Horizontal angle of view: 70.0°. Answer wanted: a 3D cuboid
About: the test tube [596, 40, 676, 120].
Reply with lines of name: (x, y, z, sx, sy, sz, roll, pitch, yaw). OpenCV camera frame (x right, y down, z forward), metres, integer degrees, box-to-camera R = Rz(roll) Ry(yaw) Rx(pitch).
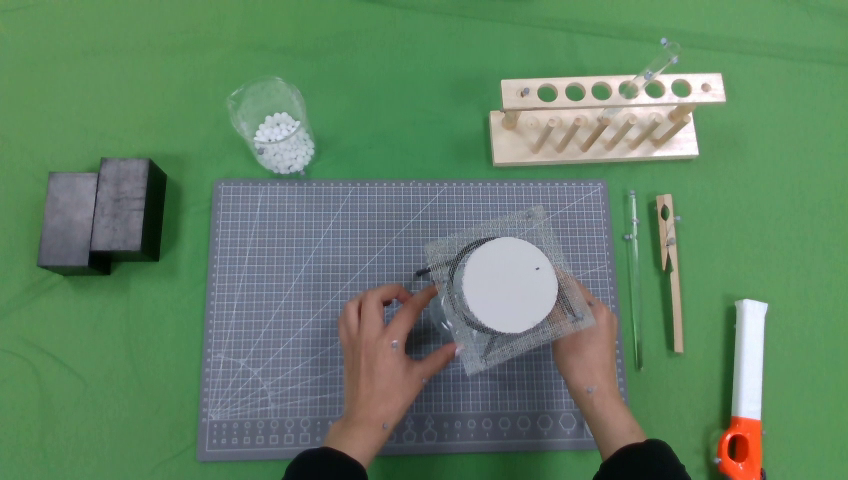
test tube: (0.219, -0.164, 0.641, 0.017, 0.150, 0.017, 2, 75, -9)

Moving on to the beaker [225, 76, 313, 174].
beaker: (-0.162, -0.119, 0.650, 0.084, 0.100, 0.073, 17, 75, 2)

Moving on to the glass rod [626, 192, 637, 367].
glass rod: (0.235, 0.042, 0.685, 0.008, 0.008, 0.199, 3, 80, -3)

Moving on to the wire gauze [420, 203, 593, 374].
wire gauze: (0.072, 0.039, 0.538, 0.121, 0.011, 0.124, -19, 78, -6)

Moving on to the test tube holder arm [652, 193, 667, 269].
test tube holder arm: (0.272, -0.010, 0.695, 0.010, 0.015, 0.087, -9, 76, 29)

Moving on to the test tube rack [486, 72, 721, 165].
test tube rack: (0.198, -0.136, 0.684, 0.242, 0.085, 0.066, -3, 76, -4)

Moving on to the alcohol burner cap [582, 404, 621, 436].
alcohol burner cap: (0.186, 0.187, 0.627, 0.034, 0.048, 0.033, 1, 76, -3)

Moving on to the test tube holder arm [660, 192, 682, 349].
test tube holder arm: (0.278, 0.033, 0.682, 0.013, 0.015, 0.177, -9, 76, 29)

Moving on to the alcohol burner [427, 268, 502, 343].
alcohol burner: (0.043, 0.062, 0.610, 0.078, 0.119, 0.077, 1, 74, -3)

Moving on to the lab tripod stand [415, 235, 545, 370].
lab tripod stand: (0.057, 0.054, 0.603, 0.148, 0.132, 0.147, 0, 77, -1)

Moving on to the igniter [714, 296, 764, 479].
igniter: (0.337, 0.197, 0.645, 0.057, 0.025, 0.275, 13, 76, -11)
